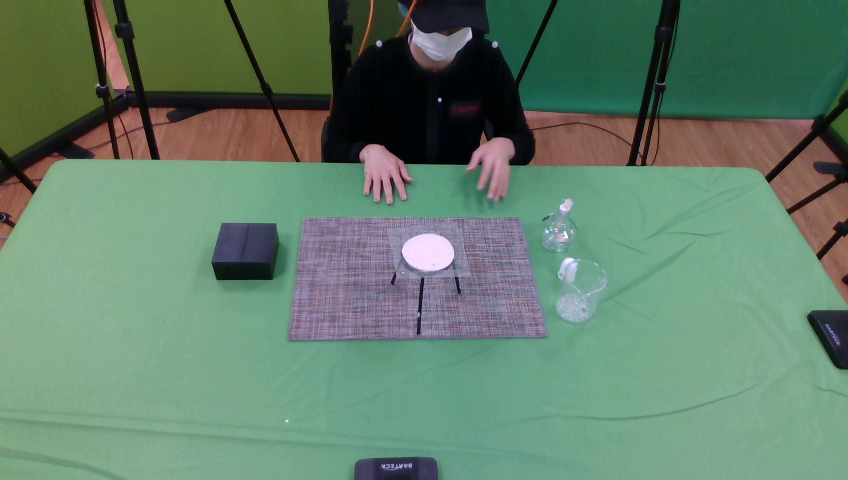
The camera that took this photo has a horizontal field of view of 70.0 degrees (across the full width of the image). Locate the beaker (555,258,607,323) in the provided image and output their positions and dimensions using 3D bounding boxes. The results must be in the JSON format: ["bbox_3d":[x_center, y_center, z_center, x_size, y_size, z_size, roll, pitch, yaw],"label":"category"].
[{"bbox_3d":[0.275,0.094,1.073,0.074,0.101,0.083,10,47,6],"label":"beaker"}]

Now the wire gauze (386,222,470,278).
[{"bbox_3d":[0.004,0.017,1.005,0.125,0.011,0.120,-5,46,-8],"label":"wire gauze"}]

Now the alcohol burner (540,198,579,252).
[{"bbox_3d":[0.267,-0.035,1.187,0.078,0.120,0.077,1,45,-1],"label":"alcohol burner"}]

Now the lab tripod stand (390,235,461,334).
[{"bbox_3d":[-0.001,0.067,1.050,0.148,0.132,0.147,1,47,-1],"label":"lab tripod stand"}]

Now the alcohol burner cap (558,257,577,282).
[{"bbox_3d":[0.276,0.053,1.154,0.034,0.048,0.033,2,46,-1],"label":"alcohol burner cap"}]
